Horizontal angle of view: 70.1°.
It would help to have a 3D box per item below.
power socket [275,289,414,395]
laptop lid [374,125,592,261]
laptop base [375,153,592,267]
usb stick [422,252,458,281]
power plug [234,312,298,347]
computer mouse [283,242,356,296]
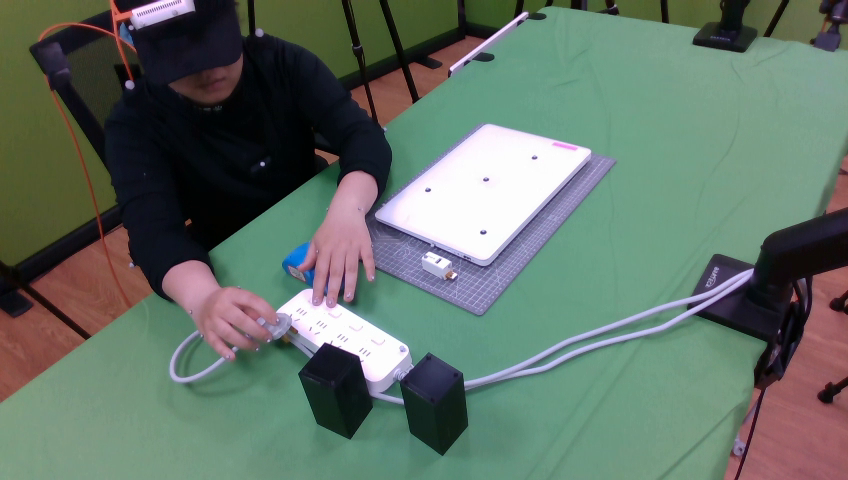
[{"bbox_3d":[-0.114,0.133,0.820,0.225,0.033,0.072,26,49,32],"label":"power socket"},{"bbox_3d":[0.109,-0.101,1.057,0.239,0.013,0.358,23,48,34],"label":"laptop lid"},{"bbox_3d":[0.112,-0.091,1.063,0.233,0.023,0.355,21,47,34],"label":"laptop base"},{"bbox_3d":[0.025,0.042,0.908,0.058,0.027,0.021,27,50,31],"label":"usb stick"},{"bbox_3d":[-0.204,0.122,0.791,0.072,0.053,0.035,-35,29,8],"label":"power plug"},{"bbox_3d":[-0.163,0.041,0.935,0.116,0.041,0.063,27,50,30],"label":"computer mouse"}]
